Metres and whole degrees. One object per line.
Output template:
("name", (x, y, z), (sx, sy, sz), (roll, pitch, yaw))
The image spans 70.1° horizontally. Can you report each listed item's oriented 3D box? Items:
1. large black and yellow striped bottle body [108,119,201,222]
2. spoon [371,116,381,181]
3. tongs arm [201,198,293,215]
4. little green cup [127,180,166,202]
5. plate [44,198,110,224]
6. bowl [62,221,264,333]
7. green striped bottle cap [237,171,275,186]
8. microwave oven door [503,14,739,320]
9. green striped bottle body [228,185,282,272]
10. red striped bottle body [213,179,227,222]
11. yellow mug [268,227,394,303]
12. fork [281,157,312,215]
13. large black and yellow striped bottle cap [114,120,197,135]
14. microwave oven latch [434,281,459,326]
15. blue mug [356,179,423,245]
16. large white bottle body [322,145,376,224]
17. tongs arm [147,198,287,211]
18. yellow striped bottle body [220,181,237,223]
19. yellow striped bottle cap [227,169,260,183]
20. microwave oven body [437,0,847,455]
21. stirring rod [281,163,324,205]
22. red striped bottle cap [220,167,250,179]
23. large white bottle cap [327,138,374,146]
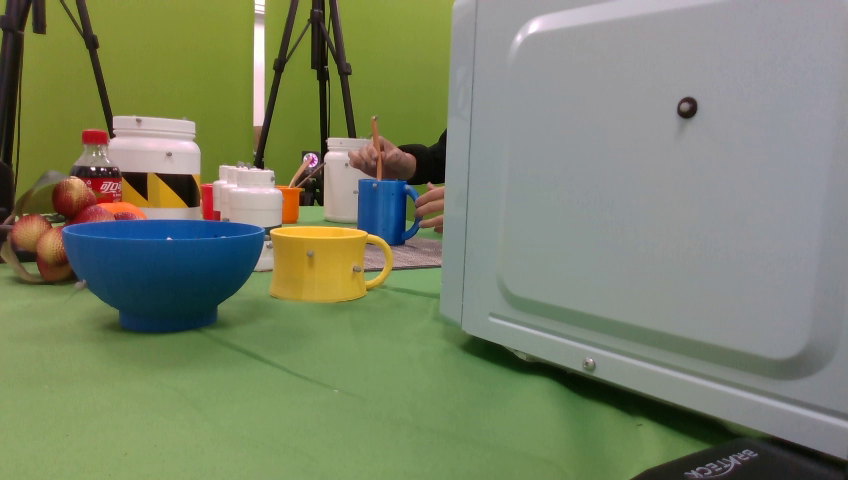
("large black and yellow striped bottle body", (-0.412, -0.088, 0.930), (0.131, 0.184, 0.130), (3, 7, 0))
("spoon", (-0.079, -0.113, 1.004), (0.022, 0.193, 0.041), (5, -13, -25))
("tongs arm", (-0.423, -0.084, 1.472), (0.050, 0.026, 0.386), (2, 6, 21))
("little green cup", (-0.486, -0.086, 1.061), (0.061, 0.038, 0.061), (1, 7, 0))
("plate", (-0.617, -0.056, 1.179), (0.209, 0.038, 0.209), (3, 7, 0))
("bowl", (-0.209, 0.029, 0.496), (0.151, 0.077, 0.151), (2, 7, 0))
("green striped bottle cap", (-0.205, -0.075, 0.738), (0.044, 0.020, 0.044), (1, 7, 0))
("microwave oven door", (0.218, -0.065, 0.600), (0.358, 0.243, 0.039), (-4, 10, -41))
("green striped bottle body", (-0.208, -0.023, 0.745), (0.063, 0.119, 0.063), (3, 7, 0))
("red striped bottle body", (-0.284, -0.048, 0.909), (0.063, 0.119, 0.063), (3, 10, 0))
("yellow mug", (-0.094, 0.023, 0.629), (0.131, 0.064, 0.099), (0, 7, -22))
("fork", (-0.289, -0.116, 1.321), (0.028, 0.019, 0.207), (6, 51, 19))
("large black and yellow striped bottle cap", (-0.407, -0.171, 0.920), (0.115, 0.019, 0.115), (2, 9, 0))
("microwave oven latch", (0.044, 0.045, 0.470), (0.079, 0.029, 0.030), (-3, 8, -40))
("blue mug", (-0.056, -0.046, 1.005), (0.116, 0.106, 0.082), (5, 8, 22))
("large white bottle body", (-0.163, -0.135, 1.368), (0.131, 0.184, 0.130), (2, 7, 0))
("tongs arm", (-0.504, -0.091, 1.513), (0.028, 0.028, 0.389), (-1, 4, 37))
("yellow striped bottle body", (-0.246, -0.036, 0.825), (0.063, 0.120, 0.063), (3, 8, 0))
("yellow striped bottle cap", (-0.243, -0.086, 0.818), (0.044, 0.018, 0.044), (3, 7, 0))
("microwave oven body", (0.279, -0.040, 0.464), (0.444, 0.260, 0.324), (-3, 9, -41))
("stirring rod", (-0.278, -0.105, 1.293), (0.176, 0.006, 0.014), (-47, 25, -18))
("red striped bottle cap", (-0.281, -0.100, 0.901), (0.044, 0.017, 0.044), (-1, 5, 0))
("large white bottle cap", (-0.160, -0.218, 1.357), (0.115, 0.018, 0.115), (2, 8, 0))
